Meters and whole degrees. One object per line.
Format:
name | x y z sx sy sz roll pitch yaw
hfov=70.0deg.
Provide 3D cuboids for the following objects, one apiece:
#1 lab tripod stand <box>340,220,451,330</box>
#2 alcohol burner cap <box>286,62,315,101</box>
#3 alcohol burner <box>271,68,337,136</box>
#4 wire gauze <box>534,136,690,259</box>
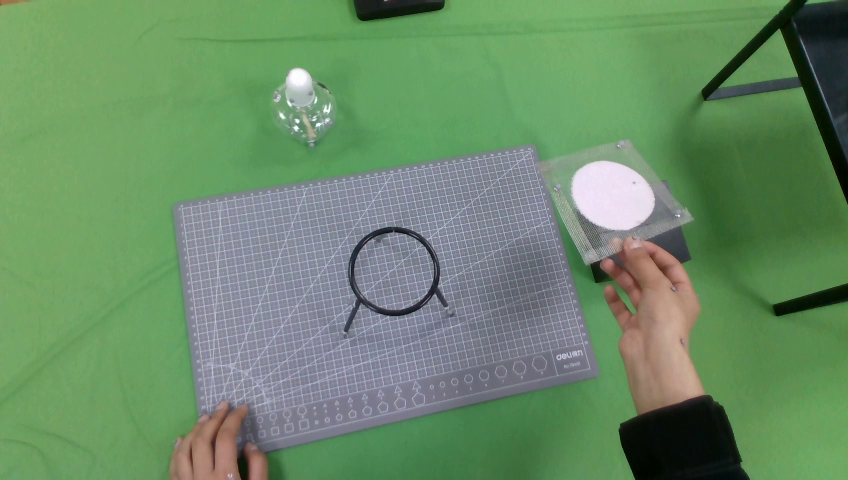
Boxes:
lab tripod stand | -0.032 0.040 0.648 0.148 0.132 0.147 2 74 -6
alcohol burner cap | -0.138 -0.178 0.671 0.034 0.048 0.033 2 79 -9
alcohol burner | -0.140 -0.169 0.705 0.078 0.119 0.077 2 75 -7
wire gauze | 0.190 -0.050 0.622 0.121 0.011 0.124 -17 63 -13
